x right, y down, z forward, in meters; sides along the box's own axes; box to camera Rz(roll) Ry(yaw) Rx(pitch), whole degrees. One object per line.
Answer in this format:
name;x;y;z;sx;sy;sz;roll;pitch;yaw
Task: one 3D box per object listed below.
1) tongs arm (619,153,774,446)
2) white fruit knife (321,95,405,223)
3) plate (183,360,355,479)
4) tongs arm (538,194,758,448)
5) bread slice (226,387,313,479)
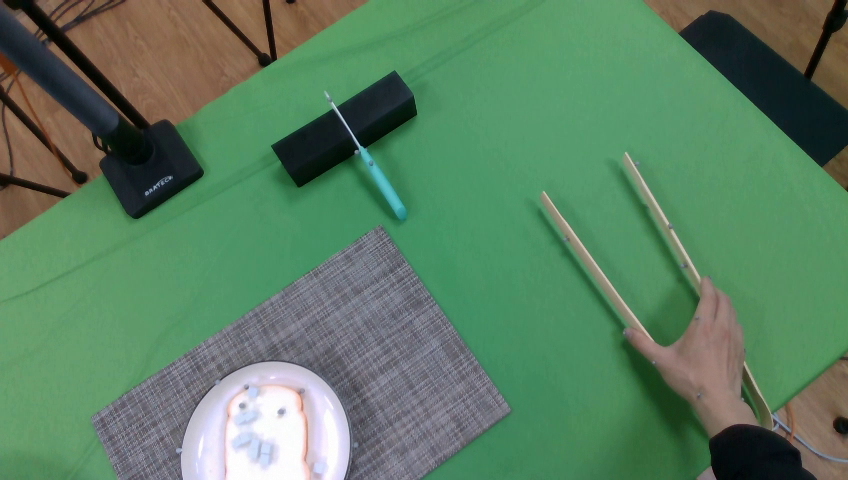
tongs arm;0.321;0.061;0.751;0.051;0.027;0.382;-24;71;-5
white fruit knife;-0.086;-0.113;0.827;0.016;0.027;0.207;-33;86;-8
plate;-0.183;0.252;0.732;0.207;0.039;0.206;-2;72;5
tongs arm;0.260;0.092;0.746;0.028;0.028;0.385;-31;72;-11
bread slice;-0.190;0.248;0.736;0.107;0.018;0.133;-12;72;0
